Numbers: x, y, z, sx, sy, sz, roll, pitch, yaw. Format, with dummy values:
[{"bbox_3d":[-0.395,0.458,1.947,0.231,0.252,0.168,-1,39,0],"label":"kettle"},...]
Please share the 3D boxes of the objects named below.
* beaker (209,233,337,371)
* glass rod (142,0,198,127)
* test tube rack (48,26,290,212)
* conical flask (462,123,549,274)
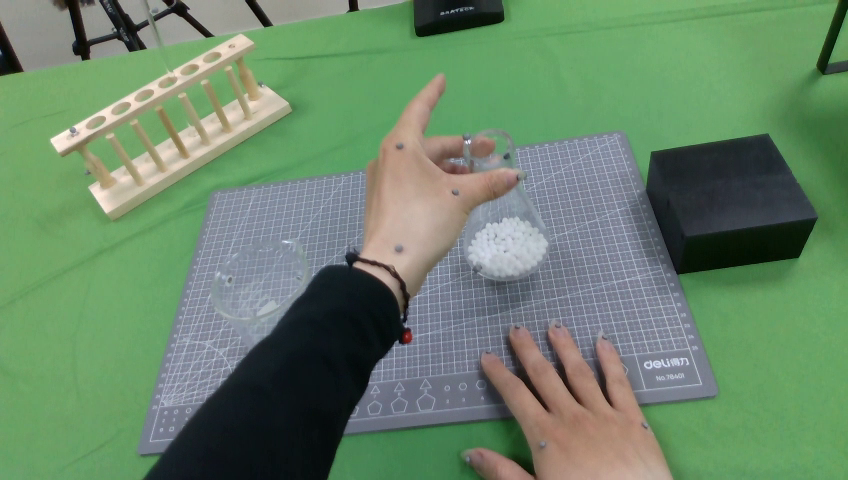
[{"bbox_3d":[-0.114,0.052,0.488,0.073,0.101,0.083,18,56,25],"label":"beaker"},{"bbox_3d":[-0.285,-0.210,0.668,0.008,0.201,0.008,-4,43,4],"label":"glass rod"},{"bbox_3d":[-0.284,-0.143,0.699,0.242,0.086,0.066,-37,53,-18],"label":"test tube rack"},{"bbox_3d":[0.059,-0.035,0.481,0.075,0.123,0.074,-8,50,9],"label":"conical flask"}]
